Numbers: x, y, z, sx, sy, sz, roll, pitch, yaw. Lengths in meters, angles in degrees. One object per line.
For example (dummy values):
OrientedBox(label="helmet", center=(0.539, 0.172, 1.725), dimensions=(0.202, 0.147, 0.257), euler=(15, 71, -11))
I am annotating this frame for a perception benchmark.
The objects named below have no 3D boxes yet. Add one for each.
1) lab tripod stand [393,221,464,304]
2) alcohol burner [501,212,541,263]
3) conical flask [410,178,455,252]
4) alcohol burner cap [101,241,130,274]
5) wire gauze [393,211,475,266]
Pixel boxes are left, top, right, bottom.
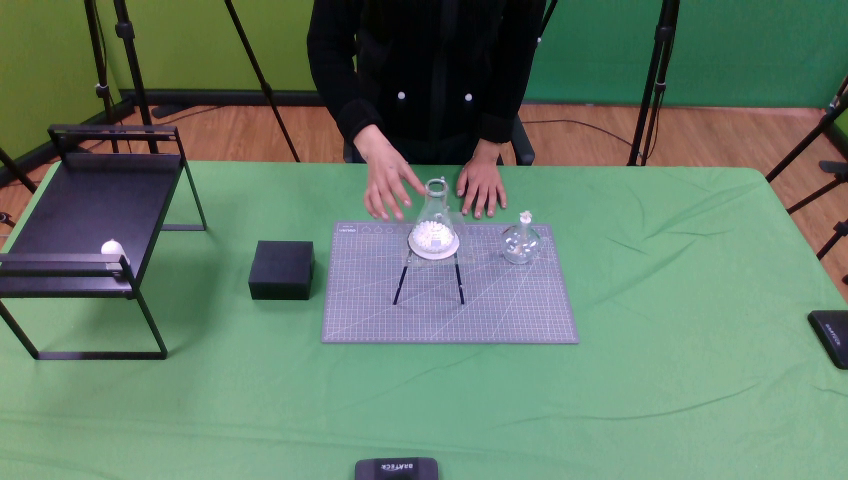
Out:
OrientedBox(label="lab tripod stand", center=(0.010, 0.045, 1.075), dimensions=(0.148, 0.132, 0.147), euler=(2, 48, -2))
OrientedBox(label="alcohol burner", center=(0.187, -0.011, 1.156), dimensions=(0.078, 0.120, 0.077), euler=(1, 49, -1))
OrientedBox(label="conical flask", center=(0.017, -0.043, 0.987), dimensions=(0.075, 0.122, 0.075), euler=(2, 47, -2))
OrientedBox(label="alcohol burner cap", center=(-0.449, 0.022, 0.878), dimensions=(0.034, 0.048, 0.033), euler=(2, 45, -2))
OrientedBox(label="wire gauze", center=(0.015, -0.002, 1.030), dimensions=(0.125, 0.011, 0.120), euler=(-6, 45, -6))
